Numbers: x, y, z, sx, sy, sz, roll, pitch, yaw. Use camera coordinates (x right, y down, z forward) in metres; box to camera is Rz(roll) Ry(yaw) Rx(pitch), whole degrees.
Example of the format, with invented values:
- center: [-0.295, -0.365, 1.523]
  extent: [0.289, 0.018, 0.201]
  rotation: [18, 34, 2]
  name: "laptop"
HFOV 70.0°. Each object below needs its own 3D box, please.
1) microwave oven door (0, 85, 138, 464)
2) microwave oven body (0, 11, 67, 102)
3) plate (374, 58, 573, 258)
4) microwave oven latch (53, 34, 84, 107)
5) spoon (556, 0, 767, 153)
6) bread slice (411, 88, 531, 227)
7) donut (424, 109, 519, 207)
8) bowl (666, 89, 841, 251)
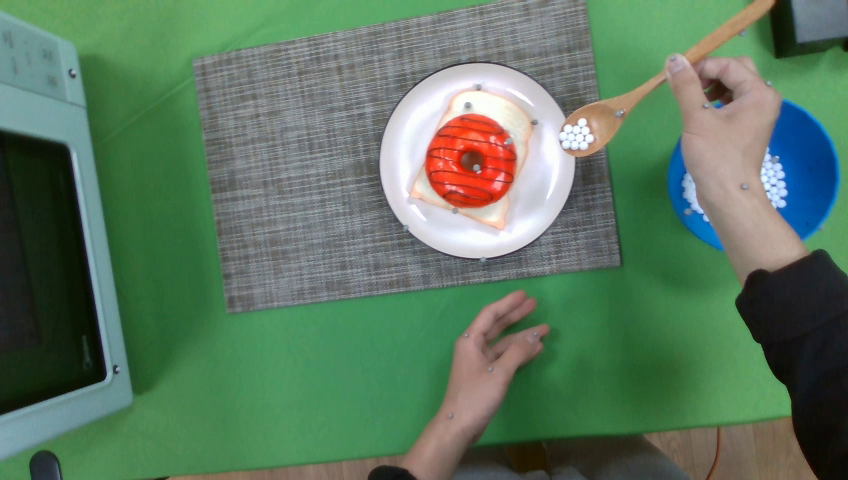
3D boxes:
- center: [-0.399, 0.023, 0.597]
  extent: [0.039, 0.244, 0.355]
  rotation: [-10, 89, 9]
  name: "microwave oven door"
- center: [-0.548, 0.007, 0.623]
  extent: [0.326, 0.260, 0.441]
  rotation: [-10, 90, 8]
  name: "microwave oven body"
- center: [0.052, -0.085, 0.648]
  extent: [0.207, 0.039, 0.207]
  rotation: [0, 91, 8]
  name: "plate"
- center: [-0.418, -0.193, 0.698]
  extent: [0.030, 0.029, 0.079]
  rotation: [-9, 90, 8]
  name: "microwave oven latch"
- center: [0.191, -0.135, 0.501]
  extent: [0.194, 0.021, 0.041]
  rotation: [-36, 88, 36]
  name: "spoon"
- center: [0.054, -0.093, 0.648]
  extent: [0.107, 0.018, 0.134]
  rotation: [17, 94, 7]
  name: "bread slice"
- center: [0.048, -0.083, 0.620]
  extent: [0.099, 0.048, 0.099]
  rotation: [0, 92, 9]
  name: "donut"
- center: [0.308, -0.064, 0.595]
  extent: [0.151, 0.077, 0.151]
  rotation: [0, 91, 8]
  name: "bowl"
